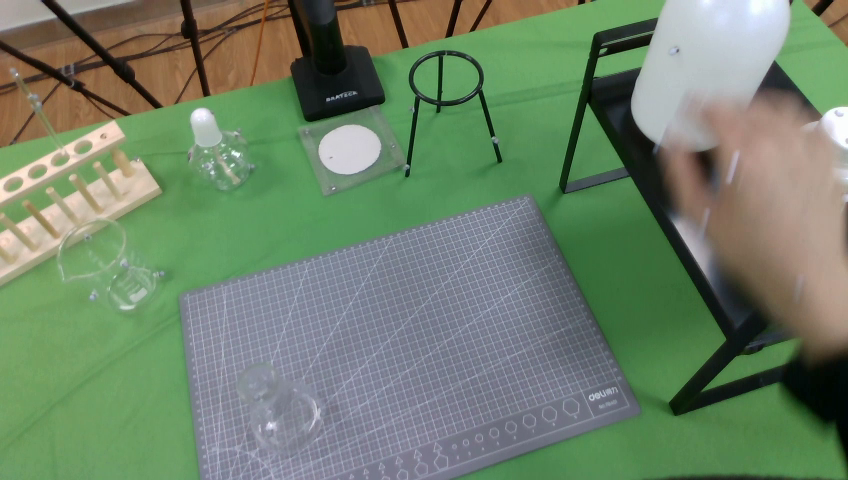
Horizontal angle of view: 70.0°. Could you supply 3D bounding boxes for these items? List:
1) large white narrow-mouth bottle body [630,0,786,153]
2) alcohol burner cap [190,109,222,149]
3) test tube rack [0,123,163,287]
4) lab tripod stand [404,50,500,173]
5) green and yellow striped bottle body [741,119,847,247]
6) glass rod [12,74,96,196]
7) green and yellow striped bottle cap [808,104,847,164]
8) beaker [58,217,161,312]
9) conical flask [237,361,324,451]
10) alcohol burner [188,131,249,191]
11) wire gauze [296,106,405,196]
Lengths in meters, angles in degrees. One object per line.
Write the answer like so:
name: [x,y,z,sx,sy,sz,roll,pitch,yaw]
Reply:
large white narrow-mouth bottle body: [0.248,-0.172,0.522,0.102,0.196,0.101,-2,57,3]
alcohol burner cap: [-0.269,-0.139,0.742,0.034,0.048,0.033,3,55,-5]
test tube rack: [-0.464,-0.040,0.750,0.242,0.086,0.066,-34,63,-17]
lab tripod stand: [0.031,-0.162,0.772,0.148,0.132,0.147,0,57,1]
green and yellow striped bottle body: [0.311,-0.050,0.488,0.063,0.121,0.062,-1,59,3]
glass rod: [-0.432,-0.116,0.716,0.008,0.201,0.008,1,56,-1]
green and yellow striped bottle cap: [0.310,-0.078,0.444,0.045,0.020,0.045,-2,59,3]
beaker: [-0.355,0.035,0.692,0.073,0.101,0.083,25,63,18]
conical flask: [-0.145,0.156,0.591,0.075,0.123,0.074,-1,58,3]
alcohol burner: [-0.267,-0.118,0.772,0.078,0.120,0.077,-1,56,2]
wire gauze: [-0.101,-0.128,0.831,0.121,0.011,0.124,-20,60,-11]
